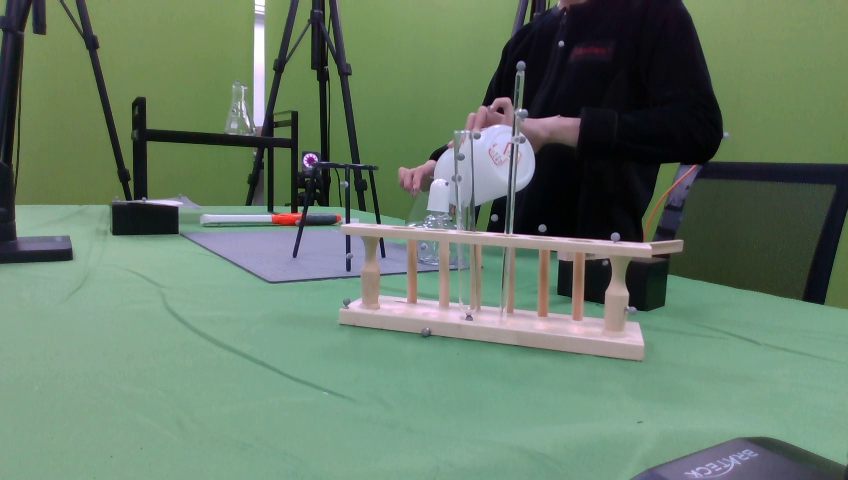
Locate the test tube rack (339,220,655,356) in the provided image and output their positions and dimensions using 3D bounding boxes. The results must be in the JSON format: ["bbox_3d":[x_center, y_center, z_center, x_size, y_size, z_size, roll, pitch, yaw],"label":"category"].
[{"bbox_3d":[0.056,0.032,0.495,0.242,0.085,0.067,4,7,15],"label":"test tube rack"}]

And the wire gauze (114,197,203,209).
[{"bbox_3d":[-0.447,-0.062,1.015,0.126,0.011,0.121,-2,8,-31],"label":"wire gauze"}]

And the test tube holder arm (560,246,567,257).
[{"bbox_3d":[0.173,0.007,0.611,0.088,0.015,0.010,-3,9,-30],"label":"test tube holder arm"}]

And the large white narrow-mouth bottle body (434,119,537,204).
[{"bbox_3d":[0.075,-0.108,0.925,0.102,0.101,0.194,-3,-9,-32],"label":"large white narrow-mouth bottle body"}]

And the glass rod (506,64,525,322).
[{"bbox_3d":[0.069,-0.030,0.458,0.008,0.199,0.008,0,15,0],"label":"glass rod"}]

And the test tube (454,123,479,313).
[{"bbox_3d":[0.034,-0.016,0.477,0.017,0.150,0.017,-2,9,1],"label":"test tube"}]

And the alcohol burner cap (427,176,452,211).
[{"bbox_3d":[0.023,-0.064,0.822,0.034,0.048,0.034,7,4,0],"label":"alcohol burner cap"}]

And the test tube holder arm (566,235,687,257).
[{"bbox_3d":[0.215,0.006,0.630,0.179,0.015,0.013,-3,9,-31],"label":"test tube holder arm"}]

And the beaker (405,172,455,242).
[{"bbox_3d":[0.012,-0.052,1.043,0.074,0.100,0.083,8,39,-15],"label":"beaker"}]

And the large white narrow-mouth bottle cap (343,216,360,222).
[{"bbox_3d":[-0.148,-0.036,1.234,0.038,0.024,0.037,2,8,0],"label":"large white narrow-mouth bottle cap"}]

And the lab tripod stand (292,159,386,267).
[{"bbox_3d":[-0.105,-0.039,0.798,0.148,0.131,0.148,2,5,0],"label":"lab tripod stand"}]

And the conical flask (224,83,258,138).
[{"bbox_3d":[-0.422,-0.299,1.395,0.075,0.122,0.075,2,7,0],"label":"conical flask"}]

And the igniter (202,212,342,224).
[{"bbox_3d":[-0.298,-0.044,1.216,0.278,0.025,0.057,-2,-2,-33],"label":"igniter"}]

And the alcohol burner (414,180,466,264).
[{"bbox_3d":[0.021,-0.028,0.826,0.078,0.119,0.078,0,6,0],"label":"alcohol burner"}]
